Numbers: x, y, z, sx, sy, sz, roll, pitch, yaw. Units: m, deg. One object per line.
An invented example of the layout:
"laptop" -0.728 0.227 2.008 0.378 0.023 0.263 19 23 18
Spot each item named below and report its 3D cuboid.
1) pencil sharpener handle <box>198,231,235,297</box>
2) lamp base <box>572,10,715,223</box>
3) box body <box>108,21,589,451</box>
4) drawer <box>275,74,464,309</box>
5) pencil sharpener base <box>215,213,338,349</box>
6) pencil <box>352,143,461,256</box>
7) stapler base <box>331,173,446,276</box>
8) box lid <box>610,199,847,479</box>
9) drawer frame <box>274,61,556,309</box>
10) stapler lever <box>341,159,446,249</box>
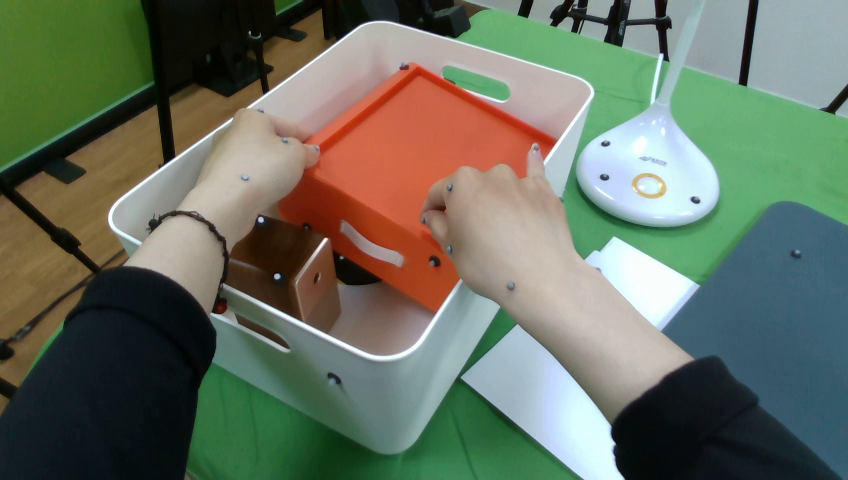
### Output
"pencil sharpener handle" -0.175 0.020 0.513 0.030 0.068 0.036 16 16 14
"lamp base" 0.256 -0.140 0.655 0.160 0.182 0.177 7 44 6
"box body" -0.038 -0.027 0.552 0.253 0.162 0.362 23 50 19
"drawer" 0.001 -0.053 0.576 0.194 0.074 0.211 30 46 10
"pencil sharpener base" -0.124 0.039 0.517 0.076 0.108 0.061 16 48 14
"pencil" -0.021 -0.043 0.582 0.012 0.012 0.192 -25 50 -23
"stapler base" -0.031 -0.021 0.560 0.041 0.024 0.129 -30 63 -37
"box lid" 0.365 0.105 0.540 0.261 0.015 0.371 35 54 29
"drawer frame" 0.003 -0.058 0.576 0.201 0.083 0.213 30 47 9
"stapler lever" -0.027 -0.038 0.543 0.027 0.040 0.117 -30 64 -37
